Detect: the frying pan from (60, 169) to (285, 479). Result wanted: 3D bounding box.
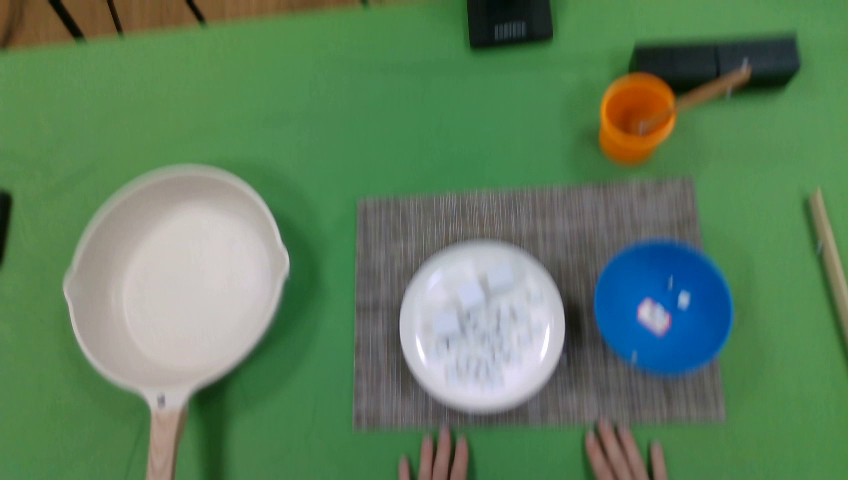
[{"bbox_3d":[-0.320,0.144,0.768,0.306,0.103,0.483,-6,65,7],"label":"frying pan"}]

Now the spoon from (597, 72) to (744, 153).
[{"bbox_3d":[0.299,-0.158,0.753,0.022,0.193,0.041,2,72,-37],"label":"spoon"}]

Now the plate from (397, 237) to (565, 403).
[{"bbox_3d":[0.071,0.099,0.762,0.207,0.039,0.206,-2,74,7],"label":"plate"}]

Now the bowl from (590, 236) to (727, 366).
[{"bbox_3d":[0.270,0.078,0.721,0.151,0.077,0.150,-2,73,7],"label":"bowl"}]

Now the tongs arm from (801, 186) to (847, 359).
[{"bbox_3d":[0.509,0.117,0.710,0.028,0.028,0.385,-9,73,3],"label":"tongs arm"}]
